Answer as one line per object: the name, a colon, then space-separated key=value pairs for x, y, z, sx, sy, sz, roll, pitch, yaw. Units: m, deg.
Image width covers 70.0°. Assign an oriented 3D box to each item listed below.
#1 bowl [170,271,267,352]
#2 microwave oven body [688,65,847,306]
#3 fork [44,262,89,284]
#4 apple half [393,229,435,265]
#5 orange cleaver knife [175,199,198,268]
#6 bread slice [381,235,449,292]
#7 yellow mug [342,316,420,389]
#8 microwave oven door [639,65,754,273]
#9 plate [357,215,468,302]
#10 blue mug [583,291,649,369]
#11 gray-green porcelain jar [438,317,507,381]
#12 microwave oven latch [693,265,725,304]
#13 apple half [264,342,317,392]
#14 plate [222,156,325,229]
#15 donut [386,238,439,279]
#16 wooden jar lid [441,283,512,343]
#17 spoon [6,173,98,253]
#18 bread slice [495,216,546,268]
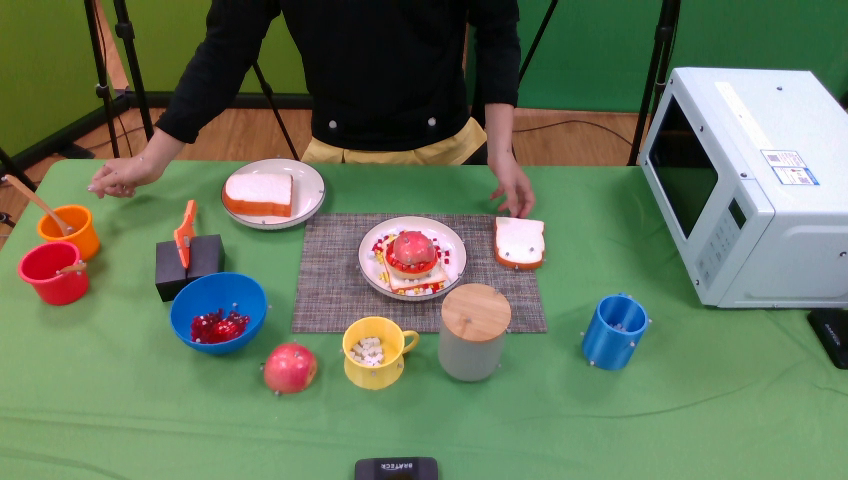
bowl: x=-0.333 y=0.132 z=1.006 sx=0.151 sy=0.077 sz=0.150 roll=2 pitch=46 yaw=-2
microwave oven body: x=0.669 y=-0.111 z=1.176 sx=0.326 sy=0.261 sz=0.439 roll=0 pitch=46 yaw=-3
fork: x=-0.598 y=0.054 z=1.014 sx=0.207 sy=0.019 sz=0.028 roll=-15 pitch=30 yaw=45
apple half: x=-0.018 y=0.005 z=1.084 sx=0.081 sy=0.033 sz=0.081 roll=6 pitch=49 yaw=-7
orange cleaver knife: x=-0.438 y=-0.017 z=1.138 sx=0.012 sy=0.077 sz=0.210 roll=-14 pitch=27 yaw=-6
bread slice: x=-0.027 y=0.038 z=1.139 sx=0.107 sy=0.018 sz=0.133 roll=-12 pitch=47 yaw=-16
yellow mug: x=-0.067 y=0.178 z=0.990 sx=0.131 sy=0.064 sz=0.099 roll=-16 pitch=50 yaw=-19
microwave oven door: x=0.522 y=-0.147 z=1.193 sx=0.039 sy=0.245 sz=0.353 roll=0 pitch=47 yaw=-3
plate: x=-0.022 y=0.037 z=1.141 sx=0.208 sy=0.039 sz=0.206 roll=2 pitch=46 yaw=-2
blue mug: x=0.324 y=0.142 z=1.023 sx=0.082 sy=0.106 sz=0.116 roll=15 pitch=47 yaw=11
gray-green porcelain jar: x=0.076 y=0.158 z=0.977 sx=0.106 sy=0.127 sz=0.105 roll=2 pitch=47 yaw=-2
microwave oven latch: x=0.522 y=0.081 z=1.115 sx=0.030 sy=0.029 sz=0.078 roll=2 pitch=46 yaw=-1
apple half: x=-0.214 y=0.198 z=0.970 sx=0.074 sy=0.053 sz=0.080 roll=19 pitch=48 yaw=11
plate: x=-0.308 y=-0.095 z=1.251 sx=0.209 sy=0.038 sz=0.208 roll=2 pitch=46 yaw=-2
donut: x=-0.021 y=0.029 z=1.110 sx=0.099 sy=0.048 sz=0.098 roll=3 pitch=47 yaw=-2
wooden jar lid: x=0.080 y=0.114 z=0.931 sx=0.108 sy=0.021 sz=0.107 roll=1 pitch=49 yaw=-1
spoon: x=-0.678 y=-0.050 z=1.106 sx=0.021 sy=0.194 sz=0.041 roll=-19 pitch=27 yaw=43
bread slice: x=0.194 y=0.002 z=1.205 sx=0.105 sy=0.019 sz=0.131 roll=5 pitch=45 yaw=2
